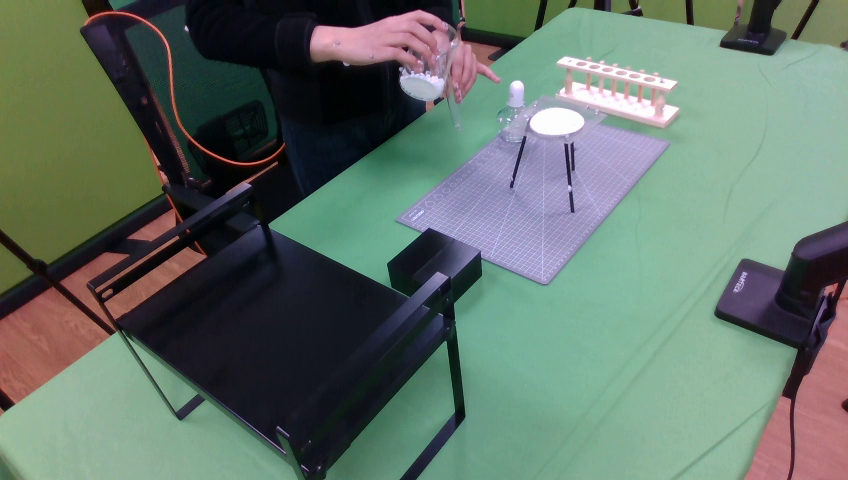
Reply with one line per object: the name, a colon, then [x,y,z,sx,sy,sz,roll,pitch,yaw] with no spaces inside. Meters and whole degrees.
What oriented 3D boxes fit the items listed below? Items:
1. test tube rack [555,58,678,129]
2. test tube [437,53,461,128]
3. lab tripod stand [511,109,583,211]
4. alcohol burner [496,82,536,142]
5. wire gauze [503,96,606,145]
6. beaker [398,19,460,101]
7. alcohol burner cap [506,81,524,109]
test tube rack: [0.389,-0.307,1.229,0.240,0.085,0.067,26,50,33]
test tube: [0.044,-0.251,1.033,0.017,0.151,0.017,-8,49,10]
lab tripod stand: [0.220,-0.138,1.014,0.148,0.132,0.147,-3,41,3]
alcohol burner: [0.178,-0.250,1.168,0.078,0.119,0.077,-5,42,5]
wire gauze: [0.211,-0.192,0.975,0.120,0.011,0.125,24,49,32]
beaker: [0.007,-0.271,0.927,0.073,0.084,0.100,12,72,16]
alcohol burner cap: [0.173,-0.277,1.145,0.034,0.048,0.033,1,41,-1]
